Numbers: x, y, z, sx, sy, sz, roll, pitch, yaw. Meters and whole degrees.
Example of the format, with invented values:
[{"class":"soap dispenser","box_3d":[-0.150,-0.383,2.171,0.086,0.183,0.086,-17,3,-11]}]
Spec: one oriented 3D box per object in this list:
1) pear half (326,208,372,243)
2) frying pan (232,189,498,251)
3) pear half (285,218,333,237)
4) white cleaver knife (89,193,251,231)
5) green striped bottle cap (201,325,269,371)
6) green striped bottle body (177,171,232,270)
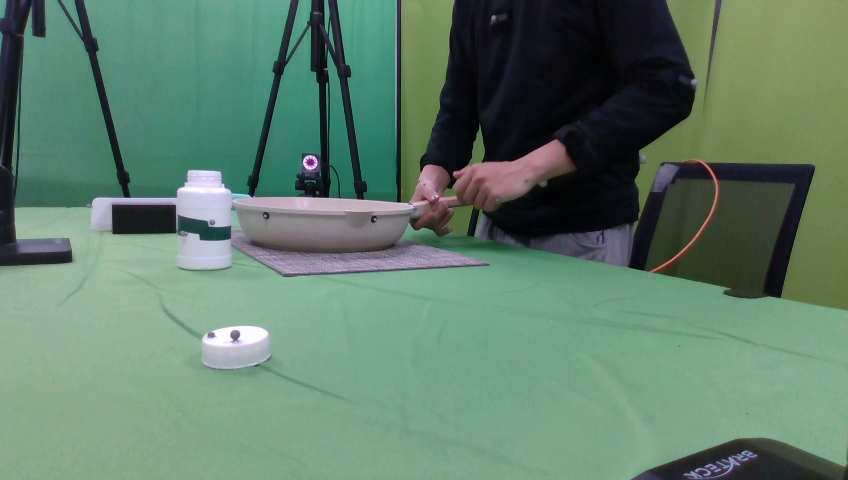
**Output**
[{"class":"pear half","box_3d":[-0.127,-0.026,1.017,0.076,0.056,0.109,6,3,-18]},{"class":"frying pan","box_3d":[-0.073,-0.051,1.048,0.490,0.102,0.305,-11,13,-27]},{"class":"pear half","box_3d":[-0.197,-0.022,1.053,0.088,0.031,0.070,-10,18,-44]},{"class":"white cleaver knife","box_3d":[-0.454,-0.052,1.114,0.288,0.066,0.021,-4,14,-27]},{"class":"green striped bottle cap","box_3d":[-0.129,0.073,0.415,0.044,0.020,0.044,2,8,0]},{"class":"green striped bottle body","box_3d":[-0.273,-0.026,0.753,0.063,0.119,0.063,2,7,0]}]
